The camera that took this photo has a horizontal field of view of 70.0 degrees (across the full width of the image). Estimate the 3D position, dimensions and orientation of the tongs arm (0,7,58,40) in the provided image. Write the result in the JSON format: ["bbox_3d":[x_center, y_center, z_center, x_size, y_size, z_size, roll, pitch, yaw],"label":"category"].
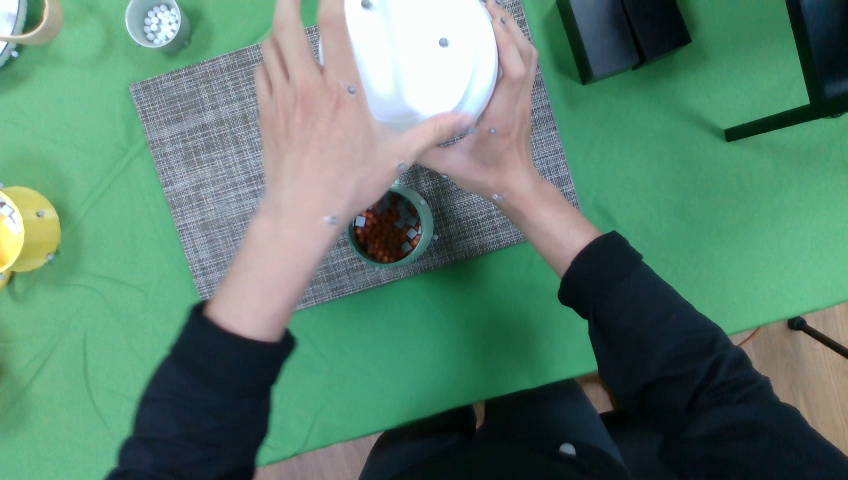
[{"bbox_3d":[-0.584,-0.256,0.642,0.385,0.026,0.051,12,91,2],"label":"tongs arm"}]

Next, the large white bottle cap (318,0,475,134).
[{"bbox_3d":[-0.021,-0.134,0.434,0.114,0.018,0.115,4,106,14],"label":"large white bottle cap"}]

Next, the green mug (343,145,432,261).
[{"bbox_3d":[-0.039,-0.038,0.643,0.092,0.105,0.125,0,94,2],"label":"green mug"}]

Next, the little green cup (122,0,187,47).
[{"bbox_3d":[-0.295,-0.243,0.669,0.061,0.038,0.061,0,95,1],"label":"little green cup"}]

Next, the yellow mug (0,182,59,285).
[{"bbox_3d":[-0.481,0.000,0.677,0.100,0.064,0.131,15,95,0],"label":"yellow mug"}]

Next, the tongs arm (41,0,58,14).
[{"bbox_3d":[-0.560,-0.336,0.637,0.387,0.028,0.028,25,88,1],"label":"tongs arm"}]

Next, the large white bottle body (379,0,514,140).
[{"bbox_3d":[0.001,-0.154,0.513,0.130,0.184,0.131,4,105,15],"label":"large white bottle body"}]

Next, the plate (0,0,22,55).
[{"bbox_3d":[-0.545,-0.275,0.672,0.208,0.039,0.208,0,95,1],"label":"plate"}]
